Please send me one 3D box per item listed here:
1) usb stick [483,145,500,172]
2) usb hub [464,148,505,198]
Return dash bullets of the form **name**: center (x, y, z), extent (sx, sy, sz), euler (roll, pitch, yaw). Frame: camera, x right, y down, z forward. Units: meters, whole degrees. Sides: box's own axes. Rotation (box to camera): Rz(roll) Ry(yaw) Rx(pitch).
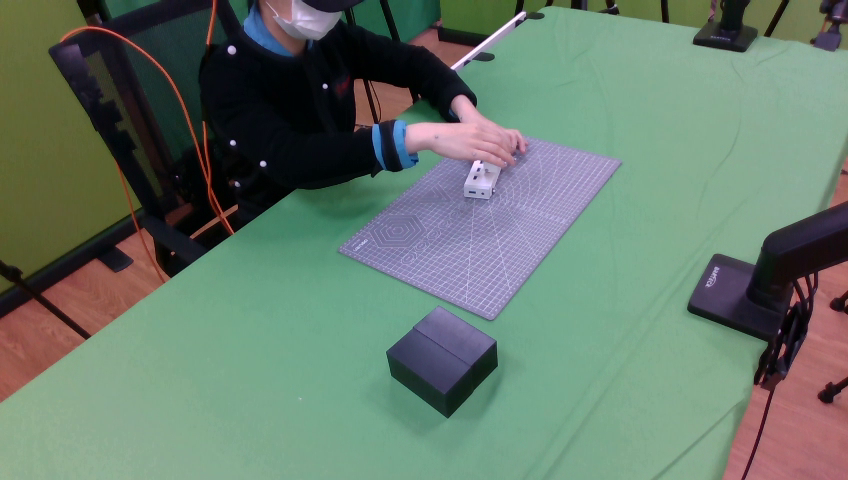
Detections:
- **usb stick**: center (0.119, -0.137, 1.058), extent (0.027, 0.059, 0.021), euler (9, 46, 15)
- **usb hub**: center (0.110, -0.121, 1.087), extent (0.049, 0.025, 0.125), euler (8, 43, 17)
